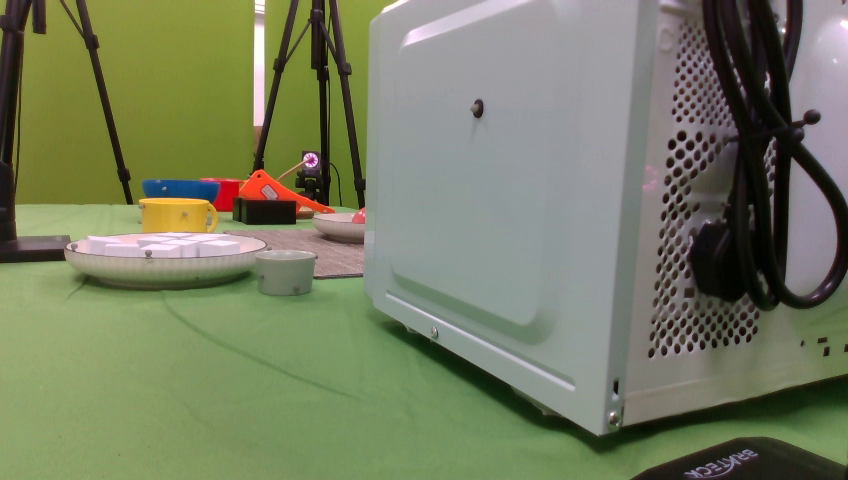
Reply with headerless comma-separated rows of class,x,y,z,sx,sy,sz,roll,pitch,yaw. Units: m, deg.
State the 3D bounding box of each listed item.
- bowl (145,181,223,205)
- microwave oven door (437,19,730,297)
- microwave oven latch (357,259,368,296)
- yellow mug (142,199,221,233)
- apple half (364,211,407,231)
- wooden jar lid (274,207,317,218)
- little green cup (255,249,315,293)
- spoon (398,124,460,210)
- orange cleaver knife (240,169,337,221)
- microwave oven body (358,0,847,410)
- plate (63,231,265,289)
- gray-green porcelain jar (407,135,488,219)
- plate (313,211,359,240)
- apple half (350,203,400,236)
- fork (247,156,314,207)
bowl,-0.499,-0.081,1.261,0.151,0.077,0.151,2,8,0
microwave oven door,0.181,-0.076,0.618,0.358,0.243,0.039,-2,9,-28
microwave oven latch,-0.019,0.031,0.528,0.079,0.029,0.030,-1,7,-25
yellow mug,-0.372,-0.030,0.948,0.099,0.064,0.131,6,7,30
apple half,-0.068,-0.037,1.104,0.081,0.033,0.081,-1,9,0
wooden jar lid,-0.303,-0.065,1.409,0.108,0.020,0.108,3,9,0
little green cup,-0.144,0.031,0.627,0.061,0.038,0.061,2,6,0
spoon,0.007,-0.136,1.101,0.041,0.193,0.022,-42,-10,37
orange cleaver knife,-0.287,-0.081,1.298,0.212,0.077,0.012,25,-3,-31
microwave oven body,0.210,-0.051,0.471,0.444,0.260,0.324,-1,7,-28
plate,-0.288,0.021,0.687,0.208,0.039,0.207,2,8,0
gray-green porcelain jar,0.047,-0.110,1.103,0.106,0.126,0.106,-37,7,6
plate,-0.090,-0.026,1.063,0.209,0.038,0.209,2,7,0
apple half,-0.081,-0.036,1.024,0.081,0.053,0.074,-2,10,-34
fork,-0.360,-0.147,1.523,0.207,0.018,0.028,-43,16,-7
